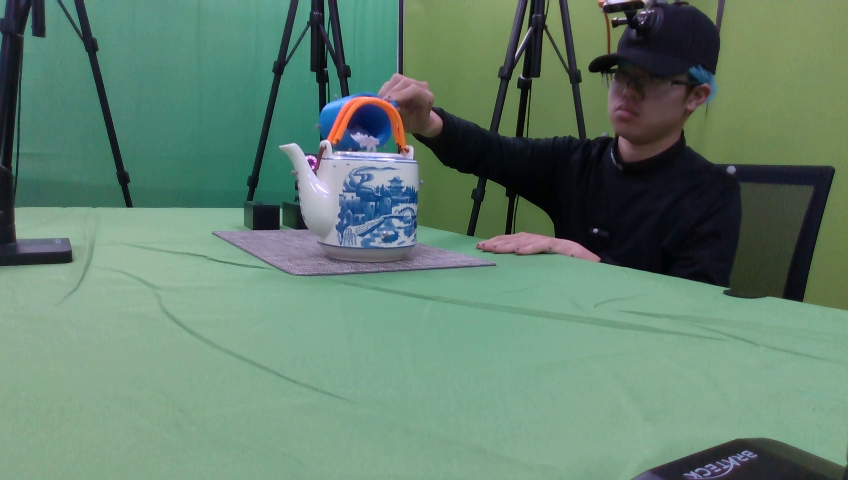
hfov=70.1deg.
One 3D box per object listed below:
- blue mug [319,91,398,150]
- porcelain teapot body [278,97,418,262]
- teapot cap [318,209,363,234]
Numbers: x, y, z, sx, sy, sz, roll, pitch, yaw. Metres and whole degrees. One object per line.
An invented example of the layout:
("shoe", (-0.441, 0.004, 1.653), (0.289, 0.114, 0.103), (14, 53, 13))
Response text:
("blue mug", (-0.093, -0.189, 0.930), (0.117, 0.082, 0.105), (-35, 21, -21))
("porcelain teapot body", (-0.103, -0.086, 0.842), (0.206, 0.225, 0.144), (-4, 9, -38))
("teapot cap", (-0.158, -0.036, 1.144), (0.085, 0.044, 0.085), (0, 6, 0))
